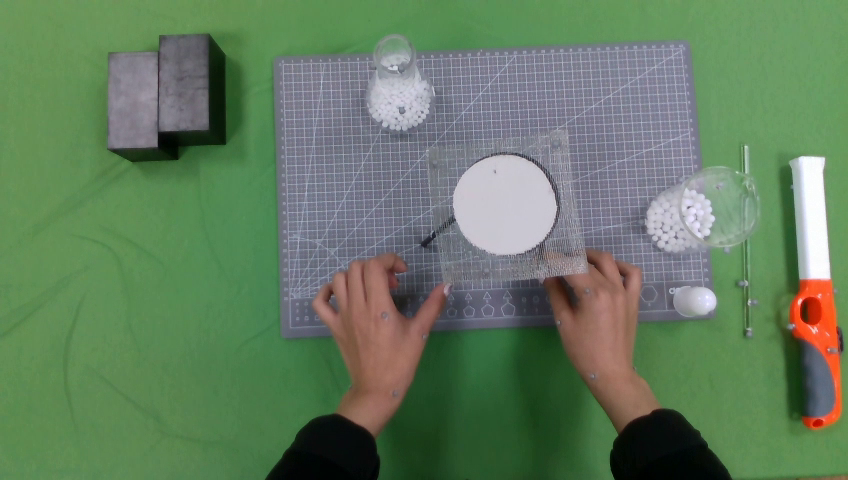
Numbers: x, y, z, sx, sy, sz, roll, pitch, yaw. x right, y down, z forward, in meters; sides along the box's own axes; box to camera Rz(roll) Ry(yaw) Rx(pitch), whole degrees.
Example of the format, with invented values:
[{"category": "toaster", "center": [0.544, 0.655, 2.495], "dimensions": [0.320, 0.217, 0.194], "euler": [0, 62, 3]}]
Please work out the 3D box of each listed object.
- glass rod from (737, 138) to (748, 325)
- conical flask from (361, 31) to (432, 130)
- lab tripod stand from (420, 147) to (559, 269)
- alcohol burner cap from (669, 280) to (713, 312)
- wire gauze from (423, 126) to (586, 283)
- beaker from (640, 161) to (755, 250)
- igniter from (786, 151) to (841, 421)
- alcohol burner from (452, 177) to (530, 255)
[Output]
[{"category": "glass rod", "center": [0.336, -0.011, 0.639], "dimensions": [0.008, 0.008, 0.199], "euler": [1, 85, -1]}, {"category": "conical flask", "center": [-0.029, -0.159, 0.589], "dimensions": [0.075, 0.122, 0.075], "euler": [0, 84, 0]}, {"category": "lab tripod stand", "center": [0.066, -0.025, 0.572], "dimensions": [0.148, 0.131, 0.148], "euler": [0, 86, 0]}, {"category": "alcohol burner cap", "center": [0.273, 0.056, 0.612], "dimensions": [0.034, 0.048, 0.034], "euler": [0, 83, -1]}, {"category": "wire gauze", "center": [0.067, -0.030, 0.505], "dimensions": [0.125, 0.011, 0.121], "euler": [-7, 85, -1]}, {"category": "beaker", "center": [0.263, -0.031, 0.592], "dimensions": [0.084, 0.100, 0.074], "euler": [-40, 86, -5]}, {"category": "igniter", "center": [0.399, 0.045, 0.625], "dimensions": [0.057, 0.025, 0.276], "euler": [1, 85, -10]}, {"category": "alcohol burner", "center": [0.066, -0.026, 0.582], "dimensions": [0.078, 0.119, 0.077], "euler": [0, 82, 1]}]
